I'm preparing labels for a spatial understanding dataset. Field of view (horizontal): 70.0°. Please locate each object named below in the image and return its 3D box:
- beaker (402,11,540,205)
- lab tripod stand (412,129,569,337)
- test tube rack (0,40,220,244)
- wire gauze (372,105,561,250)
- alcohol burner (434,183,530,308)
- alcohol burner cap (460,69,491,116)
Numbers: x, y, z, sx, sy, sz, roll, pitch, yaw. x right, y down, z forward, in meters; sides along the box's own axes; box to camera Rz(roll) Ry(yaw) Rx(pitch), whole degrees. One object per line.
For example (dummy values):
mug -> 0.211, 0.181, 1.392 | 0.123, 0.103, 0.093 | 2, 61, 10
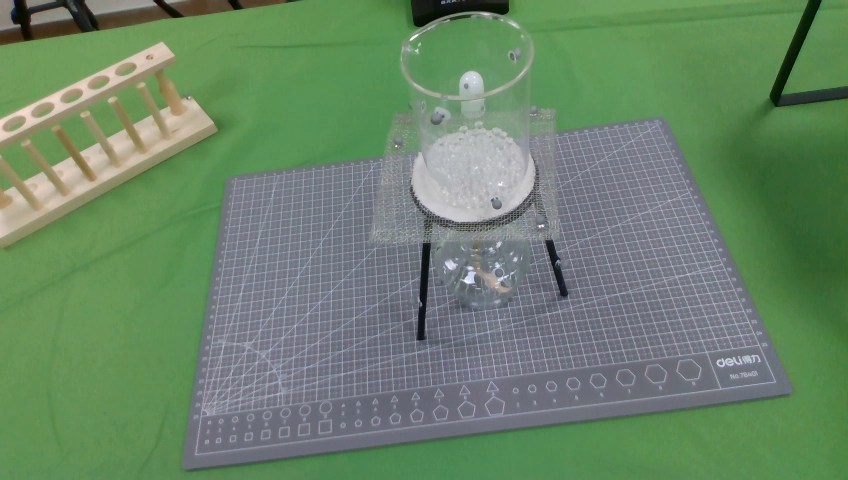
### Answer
beaker -> 0.028, -0.077, 0.376 | 0.083, 0.101, 0.074 | 26, 63, 24
lab tripod stand -> 0.041, -0.004, 0.464 | 0.148, 0.133, 0.147 | -3, 55, 5
test tube rack -> -0.346, -0.104, 0.622 | 0.242, 0.086, 0.066 | -34, 57, -17
wire gauze -> 0.031, -0.047, 0.415 | 0.121, 0.011, 0.124 | 0, 58, 10
alcohol burner -> 0.044, 0.001, 0.473 | 0.078, 0.120, 0.077 | -4, 51, 6
alcohol burner cap -> 0.054, -0.158, 0.639 | 0.034, 0.048, 0.033 | -4, 54, 6
